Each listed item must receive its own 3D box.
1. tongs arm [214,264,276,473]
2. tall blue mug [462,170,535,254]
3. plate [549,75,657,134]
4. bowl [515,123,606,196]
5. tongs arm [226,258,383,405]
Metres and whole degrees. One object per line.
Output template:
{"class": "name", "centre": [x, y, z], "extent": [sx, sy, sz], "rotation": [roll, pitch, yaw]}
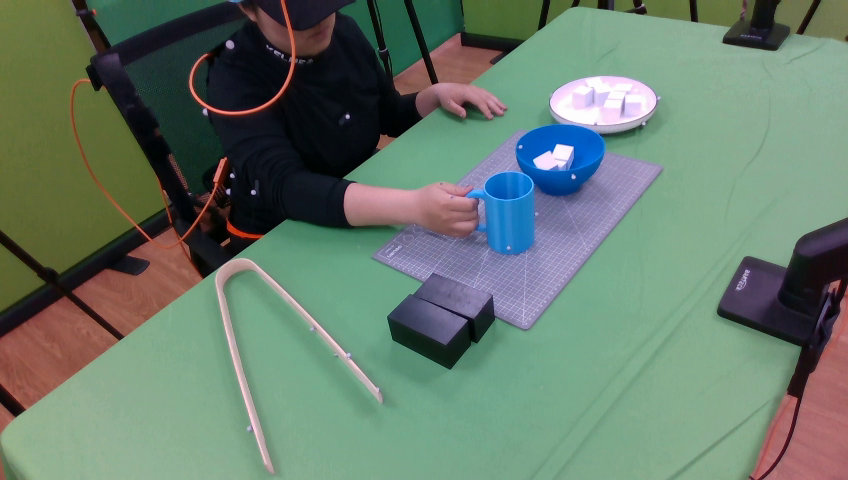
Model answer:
{"class": "tongs arm", "centre": [-0.252, 0.158, 0.837], "extent": [0.028, 0.028, 0.384], "rotation": [-27, 43, -8]}
{"class": "tall blue mug", "centre": [0.118, -0.039, 0.933], "extent": [0.107, 0.108, 0.077], "rotation": [-13, 41, -5]}
{"class": "plate", "centre": [0.357, -0.269, 1.220], "extent": [0.209, 0.038, 0.208], "rotation": [-5, 41, 5]}
{"class": "bowl", "centre": [0.234, -0.130, 1.044], "extent": [0.151, 0.077, 0.150], "rotation": [-5, 40, 5]}
{"class": "tongs arm", "centre": [-0.185, 0.121, 0.863], "extent": [0.051, 0.027, 0.381], "rotation": [-34, 45, -20]}
